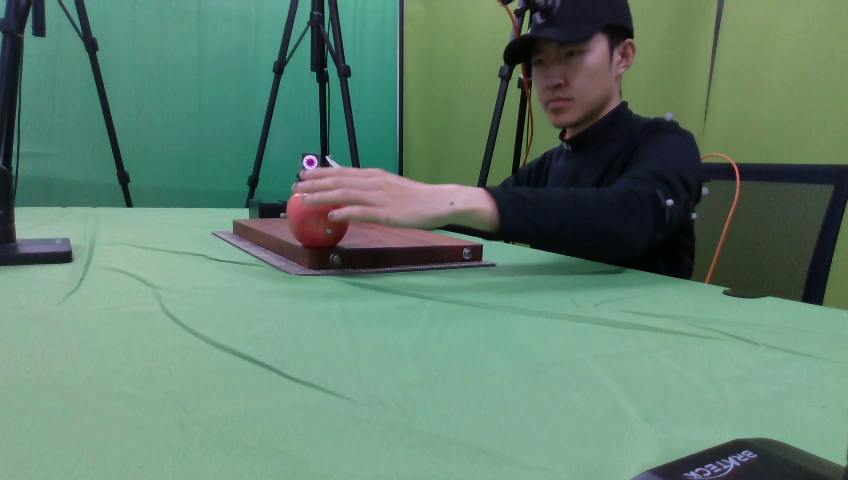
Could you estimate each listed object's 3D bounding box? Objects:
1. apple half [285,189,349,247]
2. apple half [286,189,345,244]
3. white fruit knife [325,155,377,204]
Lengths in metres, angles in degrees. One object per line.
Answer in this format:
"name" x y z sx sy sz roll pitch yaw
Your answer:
"apple half" -0.132 -0.026 0.765 0.081 0.074 0.053 2 10 -22
"apple half" -0.146 -0.032 0.801 0.081 0.081 0.032 0 11 -22
"white fruit knife" -0.131 -0.110 1.098 0.016 0.027 0.208 -26 -22 9
